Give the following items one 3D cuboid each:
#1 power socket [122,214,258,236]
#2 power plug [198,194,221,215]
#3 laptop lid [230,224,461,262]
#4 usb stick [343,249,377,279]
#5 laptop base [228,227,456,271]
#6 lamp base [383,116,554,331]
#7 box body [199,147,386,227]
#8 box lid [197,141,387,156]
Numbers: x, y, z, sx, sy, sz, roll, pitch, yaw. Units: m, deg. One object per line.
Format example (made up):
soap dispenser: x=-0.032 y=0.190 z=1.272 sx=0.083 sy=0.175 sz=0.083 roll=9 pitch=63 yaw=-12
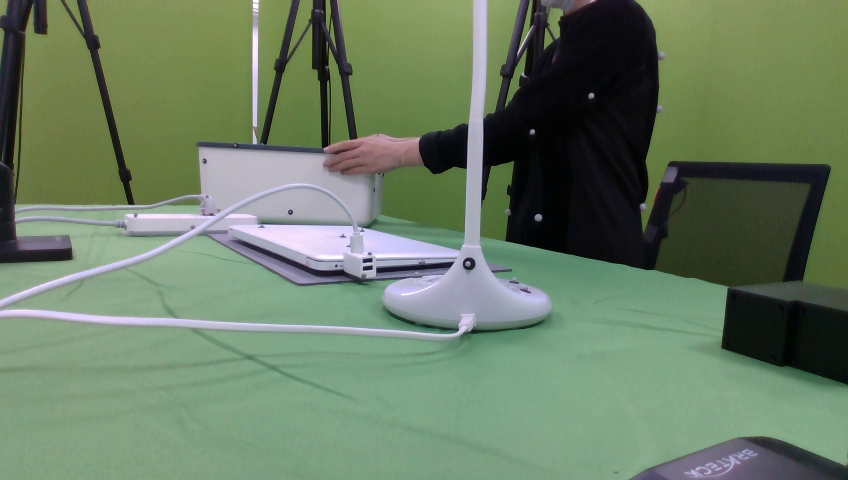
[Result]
power socket: x=-0.399 y=-0.028 z=1.049 sx=0.228 sy=0.032 sz=0.072 roll=-3 pitch=8 yaw=-34
power plug: x=-0.387 y=-0.055 z=1.089 sx=0.035 sy=0.052 sz=0.072 roll=-1 pitch=6 yaw=-22
laptop lid: x=-0.120 y=0.000 z=0.888 sx=0.243 sy=0.013 sz=0.355 roll=1 pitch=7 yaw=-33
usb stick: x=-0.076 y=0.026 z=0.687 sx=0.021 sy=0.027 sz=0.059 roll=-8 pitch=9 yaw=-31
laptop base: x=-0.123 y=0.011 z=0.889 sx=0.237 sy=0.023 sz=0.352 roll=2 pitch=6 yaw=-35
lamp base: x=0.045 y=-0.019 z=0.547 sx=0.161 sy=0.180 sz=0.179 roll=2 pitch=10 yaw=-4
box body: x=-0.277 y=-0.124 z=1.334 sx=0.364 sy=0.160 sz=0.254 roll=3 pitch=7 yaw=1
box lid: x=-0.275 y=-0.198 z=1.325 sx=0.372 sy=0.015 sz=0.263 roll=3 pitch=8 yaw=1
